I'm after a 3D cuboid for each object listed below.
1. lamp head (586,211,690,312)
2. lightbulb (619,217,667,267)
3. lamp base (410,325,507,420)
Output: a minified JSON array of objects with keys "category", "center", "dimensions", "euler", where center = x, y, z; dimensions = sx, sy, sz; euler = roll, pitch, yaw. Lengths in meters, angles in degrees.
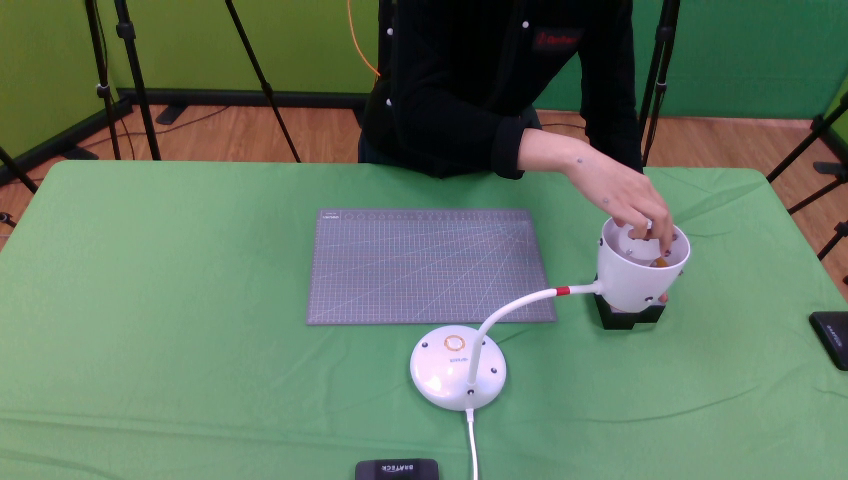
[{"category":"lamp head","center":[0.280,0.040,0.819],"dimensions":[0.112,0.123,0.111],"euler":[6,41,-5]},{"category":"lightbulb","center":[0.286,0.018,0.807],"dimensions":[0.059,0.108,0.059],"euler":[0,38,0]},{"category":"lamp base","center":[0.064,0.164,0.937],"dimensions":[0.161,0.181,0.178],"euler":[-10,51,-13]}]
